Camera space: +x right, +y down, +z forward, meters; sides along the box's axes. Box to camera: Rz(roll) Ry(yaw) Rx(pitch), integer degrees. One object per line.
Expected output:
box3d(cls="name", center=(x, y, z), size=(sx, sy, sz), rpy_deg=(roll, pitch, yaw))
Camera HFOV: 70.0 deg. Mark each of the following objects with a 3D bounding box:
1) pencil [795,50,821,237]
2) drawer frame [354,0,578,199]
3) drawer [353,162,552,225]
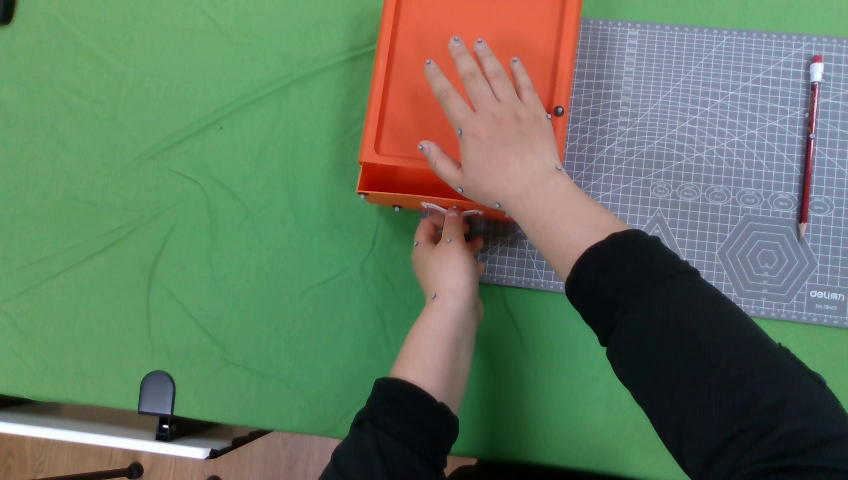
box3d(cls="pencil", center=(0.390, -0.099, 0.619), size=(0.012, 0.012, 0.193), rpy_deg=(7, 87, 7))
box3d(cls="drawer frame", center=(0.045, -0.161, 0.626), size=(0.201, 0.083, 0.213), rpy_deg=(6, 84, 8))
box3d(cls="drawer", center=(0.042, -0.130, 0.626), size=(0.194, 0.073, 0.211), rpy_deg=(7, 83, 8))
